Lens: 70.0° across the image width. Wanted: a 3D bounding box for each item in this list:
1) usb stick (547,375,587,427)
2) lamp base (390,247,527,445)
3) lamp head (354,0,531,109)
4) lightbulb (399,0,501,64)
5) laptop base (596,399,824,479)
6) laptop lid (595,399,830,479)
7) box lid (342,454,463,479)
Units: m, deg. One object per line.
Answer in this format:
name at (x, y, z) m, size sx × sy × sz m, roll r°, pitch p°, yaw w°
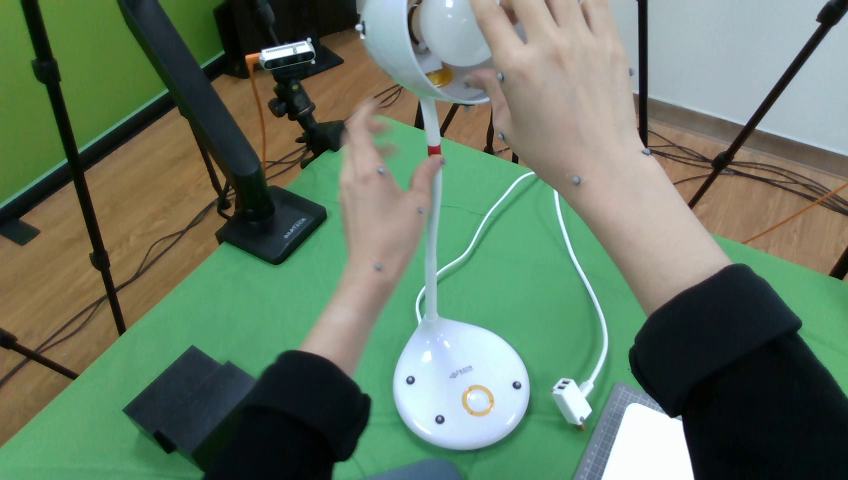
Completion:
usb stick at (0.164, 0.183, 0.681) m, size 0.027 × 0.059 × 0.021 m, roll -36°, pitch 14°, yaw -32°
lamp base at (0.029, 0.105, 0.662) m, size 0.161 × 0.182 × 0.177 m, roll -30°, pitch 49°, yaw -24°
lamp head at (0.002, -0.156, 0.452) m, size 0.112 × 0.113 × 0.122 m, roll -31°, pitch 22°, yaw -24°
lightbulb at (0.010, -0.153, 0.424) m, size 0.059 × 0.060 × 0.106 m, roll -28°, pitch 26°, yaw -22°
laptop base at (0.329, 0.320, 0.575) m, size 0.352 × 0.023 × 0.234 m, roll 21°, pitch 56°, yaw 18°
laptop lid at (0.327, 0.313, 0.564) m, size 0.354 × 0.013 × 0.240 m, roll 22°, pitch 55°, yaw 20°
box lid at (-0.044, 0.387, 0.528) m, size 0.264 × 0.015 × 0.367 m, roll -13°, pitch 50°, yaw -10°
